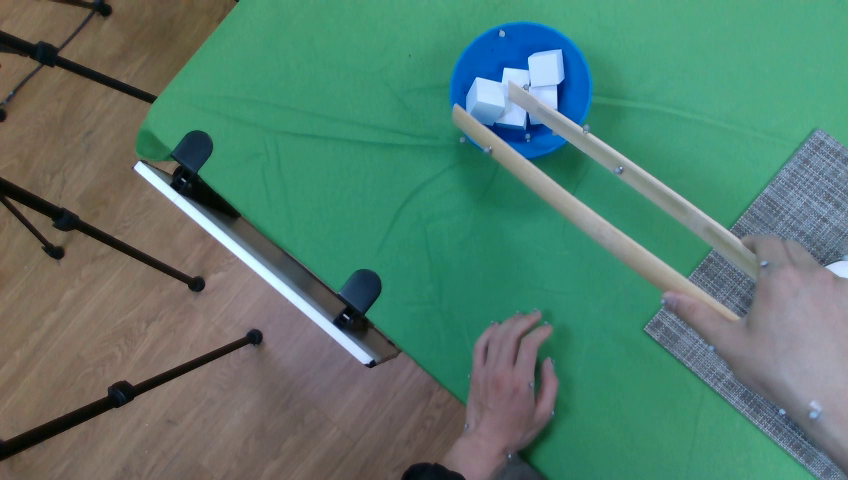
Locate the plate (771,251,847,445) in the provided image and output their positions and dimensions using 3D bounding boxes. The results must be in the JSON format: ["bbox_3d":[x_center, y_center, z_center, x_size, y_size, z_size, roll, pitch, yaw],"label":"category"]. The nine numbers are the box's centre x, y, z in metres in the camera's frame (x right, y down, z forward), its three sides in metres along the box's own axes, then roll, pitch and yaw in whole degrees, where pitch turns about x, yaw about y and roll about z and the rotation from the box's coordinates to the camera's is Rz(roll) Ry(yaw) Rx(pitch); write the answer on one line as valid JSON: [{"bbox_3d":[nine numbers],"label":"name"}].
[{"bbox_3d":[0.467,0.112,0.632,0.207,0.039,0.207,-1,85,6],"label":"plate"}]

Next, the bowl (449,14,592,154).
[{"bbox_3d":[0.105,-0.160,0.674,0.151,0.077,0.151,-1,84,6],"label":"bowl"}]

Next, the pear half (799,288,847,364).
[{"bbox_3d":[0.452,0.078,0.623,0.110,0.056,0.076,-39,87,-2],"label":"pear half"}]

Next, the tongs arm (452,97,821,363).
[{"bbox_3d":[0.144,-0.029,0.517,0.028,0.028,0.383,-27,51,-24],"label":"tongs arm"}]

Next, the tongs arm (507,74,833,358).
[{"bbox_3d":[0.179,-0.047,0.531,0.051,0.027,0.380,-28,51,-21],"label":"tongs arm"}]
